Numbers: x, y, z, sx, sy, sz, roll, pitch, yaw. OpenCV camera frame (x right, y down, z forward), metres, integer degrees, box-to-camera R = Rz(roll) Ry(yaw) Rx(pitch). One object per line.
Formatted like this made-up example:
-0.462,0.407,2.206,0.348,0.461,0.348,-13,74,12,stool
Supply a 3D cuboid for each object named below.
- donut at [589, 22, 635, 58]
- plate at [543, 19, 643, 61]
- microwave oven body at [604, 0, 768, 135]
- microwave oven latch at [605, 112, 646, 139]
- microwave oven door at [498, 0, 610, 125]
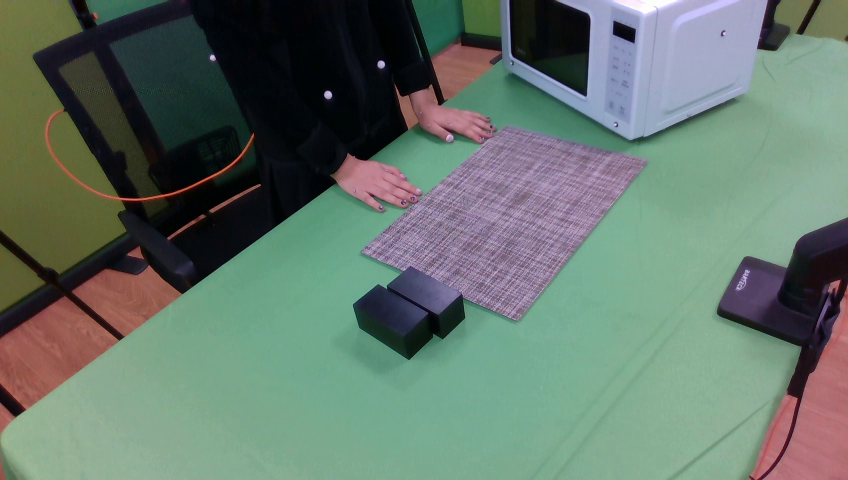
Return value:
0.402,-0.429,1.294,0.099,0.048,0.098,3,51,-3,donut
0.358,-0.426,1.292,0.209,0.038,0.208,0,35,1,plate
0.411,-0.441,1.235,0.327,0.261,0.437,-25,42,-16,microwave oven body
0.375,-0.217,1.130,0.030,0.029,0.078,-25,42,-16,microwave oven latch
0.261,-0.410,1.219,0.039,0.245,0.352,-24,42,-17,microwave oven door
